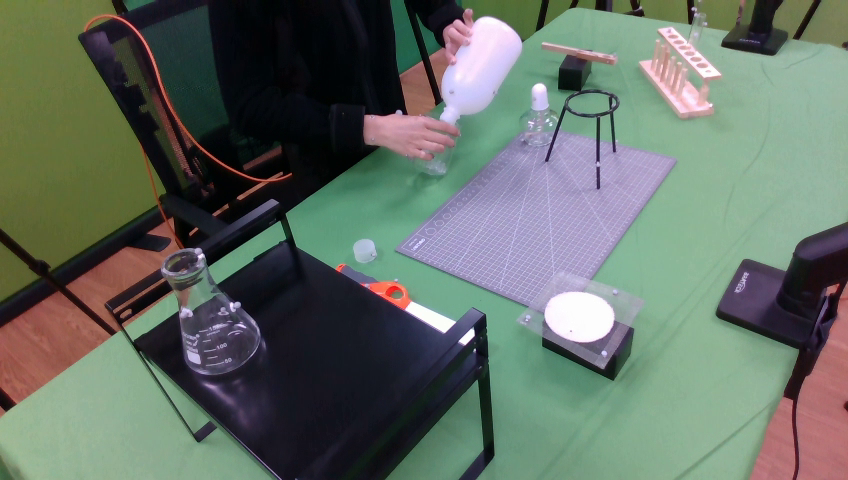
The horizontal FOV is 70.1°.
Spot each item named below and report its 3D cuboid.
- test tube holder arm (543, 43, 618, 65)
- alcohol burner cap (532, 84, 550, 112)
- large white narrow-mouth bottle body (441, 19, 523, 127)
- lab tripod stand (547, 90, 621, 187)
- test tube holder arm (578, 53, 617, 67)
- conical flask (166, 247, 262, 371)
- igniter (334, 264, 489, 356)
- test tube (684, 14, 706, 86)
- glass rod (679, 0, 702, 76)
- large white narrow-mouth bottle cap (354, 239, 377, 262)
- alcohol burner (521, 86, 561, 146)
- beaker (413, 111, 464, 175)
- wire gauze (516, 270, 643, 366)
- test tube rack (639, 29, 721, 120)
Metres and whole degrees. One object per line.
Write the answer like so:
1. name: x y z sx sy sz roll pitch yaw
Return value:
1. test tube holder arm: 0.344 -0.413 1.340 0.177 0.015 0.013 25 51 31
2. alcohol burner cap: 0.218 -0.269 1.133 0.034 0.048 0.033 -8 37 7
3. large white narrow-mouth bottle body: 0.093 -0.293 1.099 0.101 0.103 0.194 32 89 37
4. lab tripod stand: 0.289 -0.184 1.062 0.148 0.132 0.147 -6 41 6
5. test tube holder arm: 0.376 -0.393 1.314 0.087 0.015 0.010 26 51 32
6. conical flask: -0.208 0.064 0.584 0.075 0.122 0.075 -5 40 4
7. igniter: -0.030 0.095 0.871 0.274 0.025 0.057 22 59 31
8. test tube: 0.540 -0.378 1.215 0.017 0.151 0.017 -2 44 3
9. glass rod: 0.543 -0.417 1.233 0.008 0.200 0.008 1 40 0
10. large white narrow-mouth bottle cap: -0.095 0.017 0.981 0.038 0.024 0.037 -4 40 4
11. alcohol burner: 0.223 -0.241 1.155 0.078 0.119 0.077 -5 43 5
12. beaker: 0.026 -0.176 1.112 0.084 0.100 0.073 -3 30 -42
13. wire gauze: 0.200 0.093 0.777 0.124 0.011 0.122 23 49 32
14. test tube rack: 0.527 -0.351 1.262 0.067 0.085 0.241 -8 40 1
